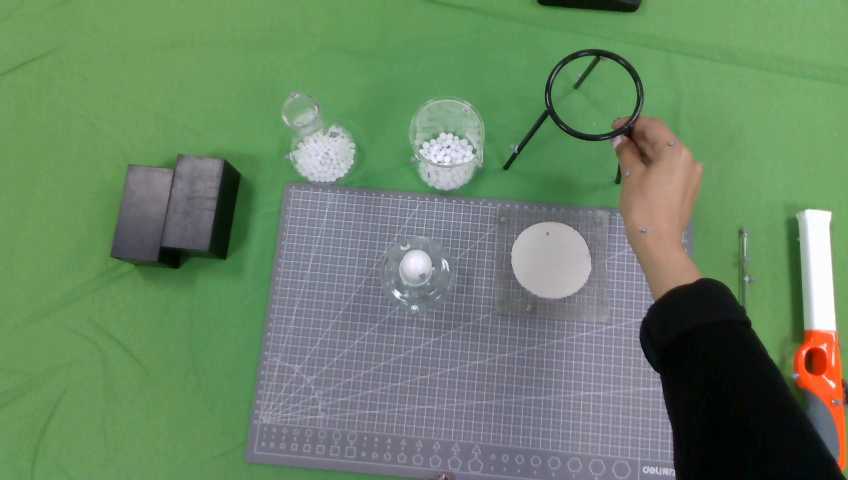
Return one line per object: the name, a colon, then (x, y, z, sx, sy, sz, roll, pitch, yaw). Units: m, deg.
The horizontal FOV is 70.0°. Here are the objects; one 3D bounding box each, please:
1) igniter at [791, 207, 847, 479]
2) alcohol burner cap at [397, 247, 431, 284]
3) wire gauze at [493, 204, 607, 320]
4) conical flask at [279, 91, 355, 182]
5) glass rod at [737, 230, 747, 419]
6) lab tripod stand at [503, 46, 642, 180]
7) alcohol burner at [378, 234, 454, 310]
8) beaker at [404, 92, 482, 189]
igniter: (0.404, 0.101, 0.624, 0.057, 0.025, 0.275, 5, 80, -8)
alcohol burner cap: (-0.008, 0.022, 0.565, 0.034, 0.048, 0.033, 1, 80, -4)
wire gauze: (0.136, 0.022, 0.653, 0.125, 0.011, 0.121, 4, 80, 0)
conical flask: (-0.116, -0.111, 0.628, 0.075, 0.122, 0.075, 0, 79, 1)
glass rod: (0.335, 0.086, 0.637, 0.008, 0.008, 0.199, 5, 79, 2)
lab tripod stand: (0.154, -0.122, 0.618, 0.148, 0.132, 0.148, 0, 81, 2)
alcohol burner: (-0.009, 0.029, 0.601, 0.078, 0.119, 0.077, 0, 81, 1)
beaker: (0.023, -0.097, 0.634, 0.084, 0.100, 0.074, 41, 83, 8)
